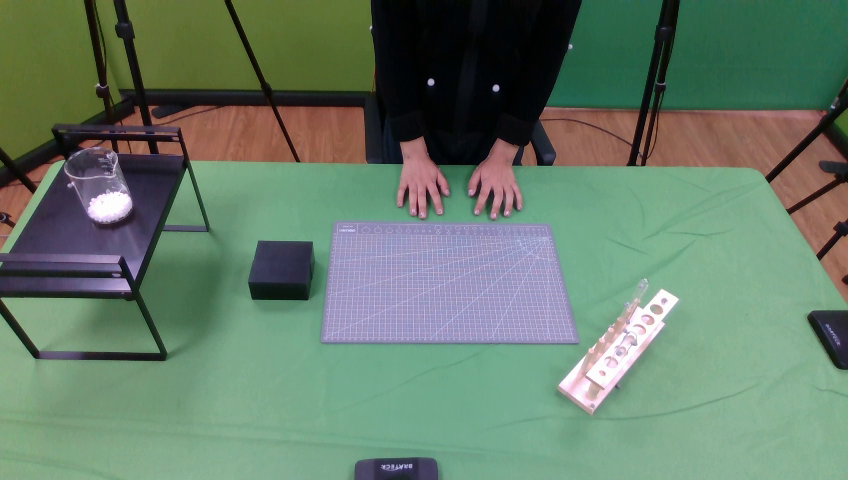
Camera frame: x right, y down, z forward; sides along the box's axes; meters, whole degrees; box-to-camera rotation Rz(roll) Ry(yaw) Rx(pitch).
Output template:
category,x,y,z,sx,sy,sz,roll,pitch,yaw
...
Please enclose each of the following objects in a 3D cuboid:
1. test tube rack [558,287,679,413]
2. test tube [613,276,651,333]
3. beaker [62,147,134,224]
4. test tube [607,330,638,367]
category,x,y,z,sx,sy,sz,roll,pitch,yaw
test tube rack,0.326,0.170,1.009,0.066,0.085,0.242,36,54,27
test tube,0.344,0.109,1.007,0.017,0.151,0.017,3,49,-3
beaker,-0.495,-0.080,0.933,0.084,0.101,0.074,23,50,16
test tube,0.292,0.184,0.925,0.017,0.151,0.017,4,49,-4
